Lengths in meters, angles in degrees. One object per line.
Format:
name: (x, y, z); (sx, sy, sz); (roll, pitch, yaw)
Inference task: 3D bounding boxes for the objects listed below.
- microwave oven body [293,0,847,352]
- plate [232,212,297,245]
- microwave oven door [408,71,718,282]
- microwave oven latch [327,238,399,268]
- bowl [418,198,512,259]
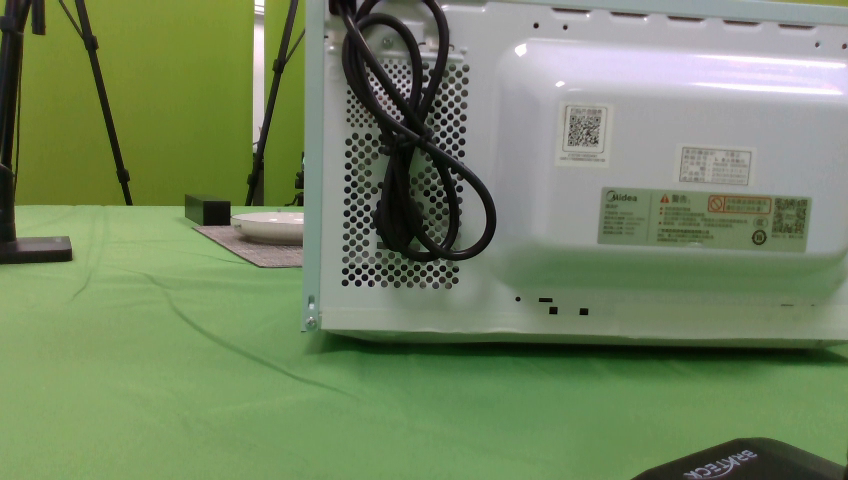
microwave oven body: (0.122, -0.055, 0.550); (0.442, 0.260, 0.325); (3, 7, -5)
plate: (-0.214, -0.019, 1.018); (0.208, 0.039, 0.207); (3, 7, 0)
microwave oven door: (0.160, -0.084, 0.750); (0.355, 0.243, 0.039); (4, 9, 13)
microwave oven latch: (-0.069, 0.015, 0.694); (0.079, 0.029, 0.030); (3, 7, -3)
bowl: (0.061, -0.016, 0.973); (0.151, 0.077, 0.151); (7, 12, -1)
